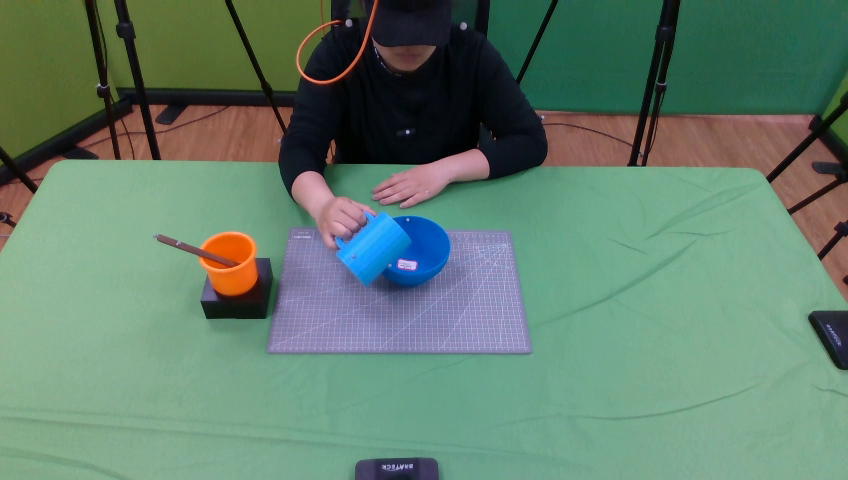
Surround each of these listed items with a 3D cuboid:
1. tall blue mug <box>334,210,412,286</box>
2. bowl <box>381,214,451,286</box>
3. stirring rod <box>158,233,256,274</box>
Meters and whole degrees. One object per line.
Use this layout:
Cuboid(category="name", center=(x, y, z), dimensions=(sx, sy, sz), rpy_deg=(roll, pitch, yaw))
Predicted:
Cuboid(category="tall blue mug", center=(-0.096, 0.002, 1.018), dimensions=(0.108, 0.078, 0.107), rpy_deg=(-44, 93, -8))
Cuboid(category="bowl", center=(-0.028, 0.032, 1.122), dimensions=(0.151, 0.077, 0.150), rpy_deg=(2, 47, -2))
Cuboid(category="stirring rod", center=(-0.353, 0.024, 1.000), dimensions=(0.177, 0.006, 0.014), rpy_deg=(26, 32, -40))
